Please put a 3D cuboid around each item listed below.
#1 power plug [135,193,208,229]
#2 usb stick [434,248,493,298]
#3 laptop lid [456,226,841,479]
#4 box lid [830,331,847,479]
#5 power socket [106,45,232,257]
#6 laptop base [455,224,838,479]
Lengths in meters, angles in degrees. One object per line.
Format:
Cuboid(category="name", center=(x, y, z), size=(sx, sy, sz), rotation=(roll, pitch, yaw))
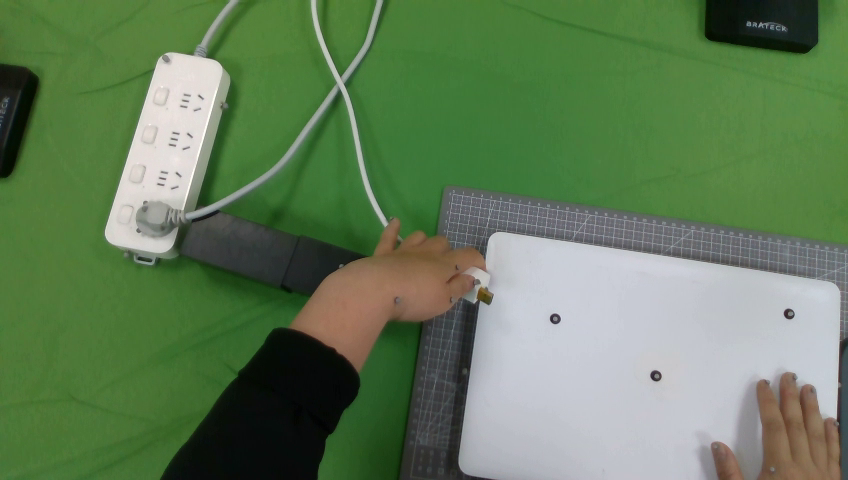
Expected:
Cuboid(category="power plug", center=(-0.242, -0.021, 0.583), size=(0.072, 0.053, 0.035), rotation=(25, 77, 2))
Cuboid(category="usb stick", center=(0.040, 0.032, 0.548), size=(0.059, 0.021, 0.027), rotation=(29, 44, 23))
Cuboid(category="laptop lid", center=(0.219, 0.124, 0.581), size=(0.357, 0.013, 0.241), rotation=(10, 81, 1))
Cuboid(category="box lid", center=(0.512, 0.278, 0.571), size=(0.263, 0.015, 0.370), rotation=(9, 79, 0))
Cuboid(category="power socket", center=(-0.257, -0.095, 0.618), size=(0.072, 0.033, 0.226), rotation=(12, 78, 1))
Cuboid(category="laptop base", center=(0.219, 0.124, 0.592), size=(0.354, 0.023, 0.235), rotation=(9, 83, 0))
